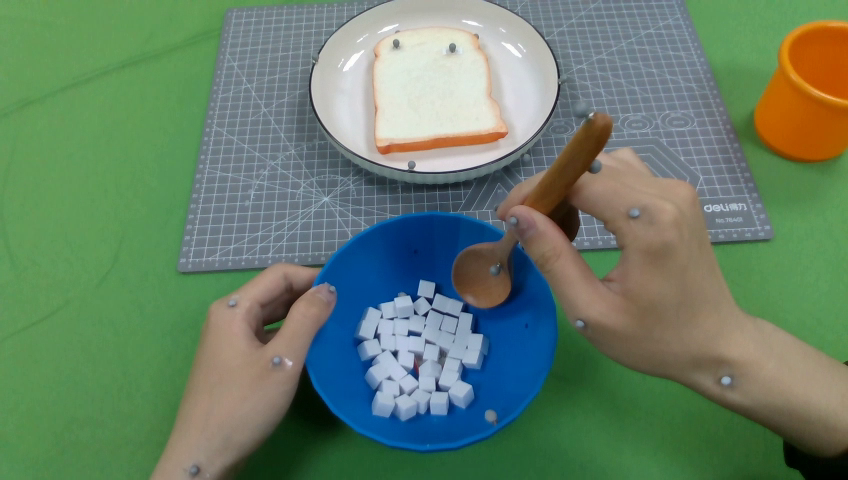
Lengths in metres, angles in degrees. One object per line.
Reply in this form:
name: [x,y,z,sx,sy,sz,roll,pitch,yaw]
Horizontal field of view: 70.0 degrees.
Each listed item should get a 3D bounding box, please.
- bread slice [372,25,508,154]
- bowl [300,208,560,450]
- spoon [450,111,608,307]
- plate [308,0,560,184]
bread slice: [0.004,-0.132,0.522,0.107,0.018,0.133,-10,61,-2]
bowl: [0.005,0.063,0.383,0.151,0.077,0.150,-1,60,3]
spoon: [0.048,-0.004,0.314,0.041,0.194,0.021,42,67,8]
plate: [0.008,-0.129,0.517,0.209,0.038,0.207,-1,60,2]
